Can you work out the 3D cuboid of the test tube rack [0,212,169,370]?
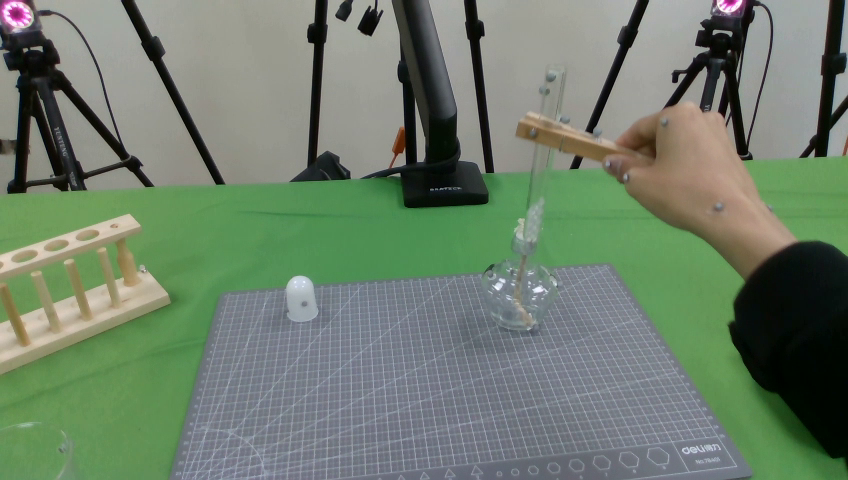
[{"bbox_3d":[-0.388,0.060,0.585,0.243,0.086,0.066,-25,41,-34],"label":"test tube rack"}]

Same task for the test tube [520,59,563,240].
[{"bbox_3d":[0.091,-0.065,0.474,0.017,0.151,0.017,2,33,-1],"label":"test tube"}]

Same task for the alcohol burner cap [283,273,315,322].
[{"bbox_3d":[-0.132,0.057,0.627,0.034,0.048,0.033,0,32,1],"label":"alcohol burner cap"}]

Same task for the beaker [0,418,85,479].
[{"bbox_3d":[-0.255,0.177,0.388,0.084,0.101,0.073,0,32,2],"label":"beaker"}]

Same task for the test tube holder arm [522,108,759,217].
[{"bbox_3d":[0.150,-0.059,0.439,0.177,0.015,0.013,27,40,22],"label":"test tube holder arm"}]

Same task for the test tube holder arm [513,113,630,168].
[{"bbox_3d":[0.109,-0.074,0.450,0.087,0.015,0.010,22,38,15],"label":"test tube holder arm"}]

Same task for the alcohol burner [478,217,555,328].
[{"bbox_3d":[0.094,0.029,0.605,0.078,0.120,0.077,2,33,-1],"label":"alcohol burner"}]
